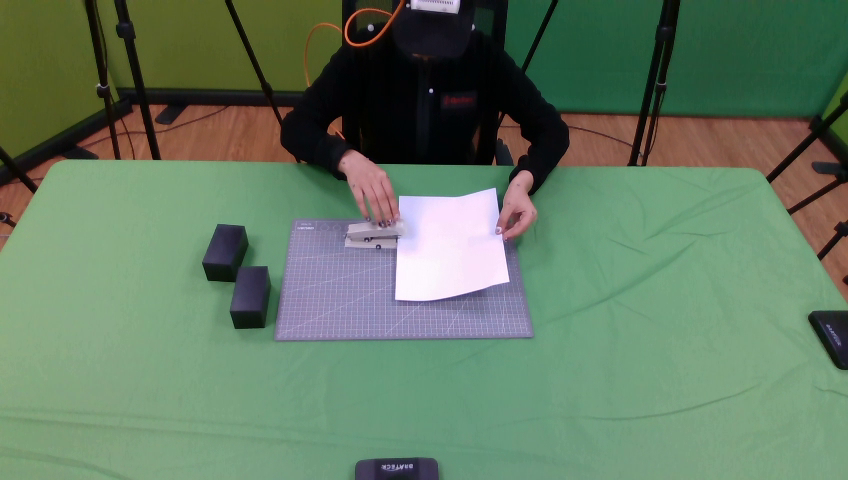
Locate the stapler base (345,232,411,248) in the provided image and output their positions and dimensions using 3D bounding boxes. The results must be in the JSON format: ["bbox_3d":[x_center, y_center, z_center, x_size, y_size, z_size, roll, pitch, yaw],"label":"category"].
[{"bbox_3d":[-0.090,-0.007,1.192,0.130,0.024,0.041,0,44,-1],"label":"stapler base"}]

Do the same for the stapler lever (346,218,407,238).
[{"bbox_3d":[-0.091,-0.023,1.175,0.118,0.040,0.026,1,44,-2],"label":"stapler lever"}]
